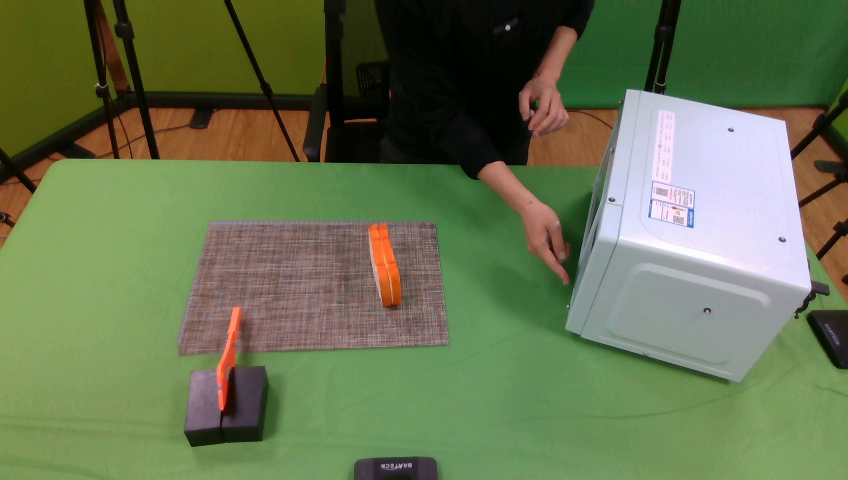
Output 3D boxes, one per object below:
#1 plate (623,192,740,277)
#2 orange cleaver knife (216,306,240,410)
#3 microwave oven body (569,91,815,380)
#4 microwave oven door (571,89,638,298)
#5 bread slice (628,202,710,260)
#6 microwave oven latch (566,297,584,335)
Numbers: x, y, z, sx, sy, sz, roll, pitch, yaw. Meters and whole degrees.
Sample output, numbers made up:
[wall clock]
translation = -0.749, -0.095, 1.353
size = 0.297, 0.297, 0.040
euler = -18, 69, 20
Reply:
[plate]
translation = 0.479, -0.007, 1.141
size = 0.208, 0.039, 0.206
euler = 0, 47, 0
[orange cleaver knife]
translation = -0.307, 0.180, 0.957
size = 0.012, 0.077, 0.210
euler = -2, 25, -8
[microwave oven body]
translation = 0.468, -0.022, 1.082
size = 0.325, 0.261, 0.440
euler = 15, 46, 11
[microwave oven door]
translation = 0.343, -0.091, 1.133
size = 0.039, 0.245, 0.354
euler = 15, 47, 10
[bread slice]
translation = 0.474, -0.023, 1.162
size = 0.134, 0.018, 0.106
euler = -26, 53, -17
[microwave oven latch]
translation = 0.268, 0.126, 1.059
size = 0.030, 0.029, 0.079
euler = 16, 46, 12
